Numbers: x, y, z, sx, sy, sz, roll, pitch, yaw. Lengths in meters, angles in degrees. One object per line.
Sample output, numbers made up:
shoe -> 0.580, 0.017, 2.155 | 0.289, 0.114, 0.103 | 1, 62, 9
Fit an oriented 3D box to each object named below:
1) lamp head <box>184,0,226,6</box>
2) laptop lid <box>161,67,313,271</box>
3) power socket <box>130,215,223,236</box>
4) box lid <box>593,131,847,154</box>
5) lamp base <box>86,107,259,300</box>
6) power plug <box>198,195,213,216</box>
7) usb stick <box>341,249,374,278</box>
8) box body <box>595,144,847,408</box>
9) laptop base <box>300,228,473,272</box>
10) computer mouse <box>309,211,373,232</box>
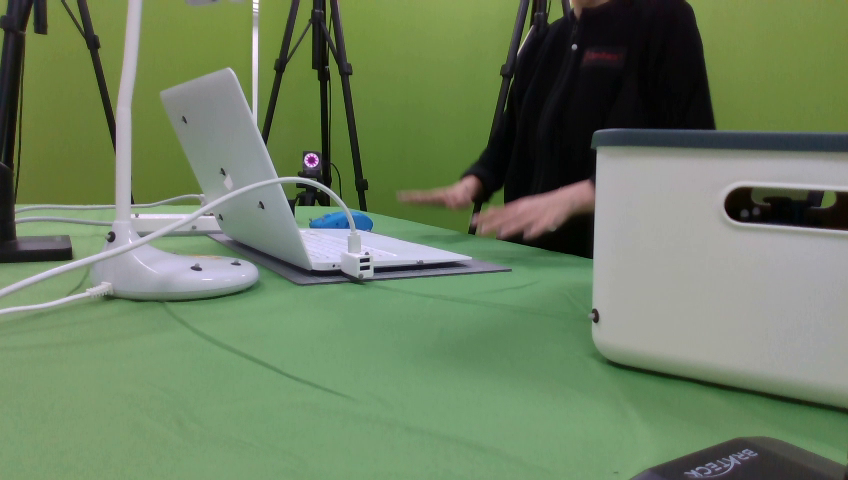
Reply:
lamp head -> -0.229, -0.320, 0.627 | 0.112, 0.112, 0.123 | 6, -35, 26
laptop lid -> -0.255, -0.090, 0.782 | 0.013, 0.242, 0.355 | -29, 24, -28
power socket -> -0.397, -0.028, 1.048 | 0.228, 0.032, 0.072 | -3, 7, -35
box lid -> 0.311, -0.067, 0.498 | 0.262, 0.015, 0.373 | 6, 7, 30
lamp base -> -0.254, -0.039, 0.603 | 0.160, 0.180, 0.179 | 5, 10, 18
power plug -> -0.386, -0.055, 1.088 | 0.035, 0.052, 0.072 | -2, 6, -24
usb stick -> -0.079, 0.026, 0.687 | 0.021, 0.027, 0.059 | -8, 9, -30
box body -> 0.310, 0.007, 0.508 | 0.253, 0.160, 0.366 | 6, 8, 30
laptop base -> -0.124, 0.011, 0.889 | 0.237, 0.023, 0.352 | 2, 6, -35
computer mouse -> -0.157, -0.033, 1.139 | 0.118, 0.041, 0.062 | -5, 11, -28
